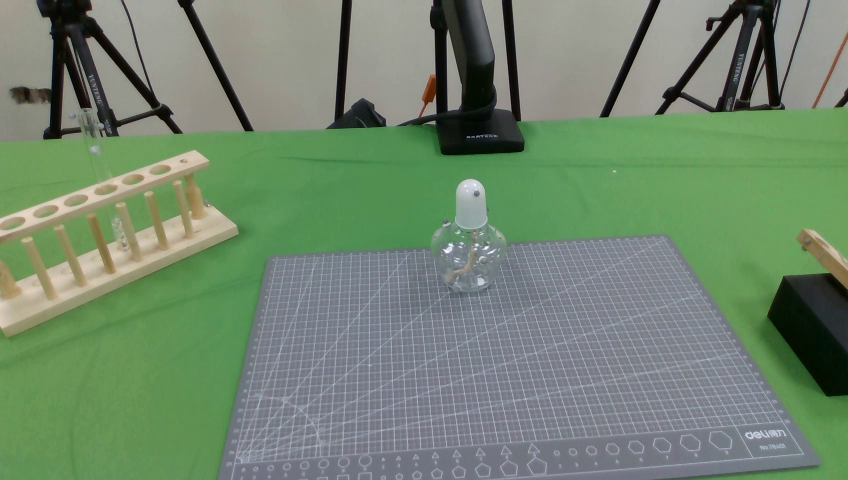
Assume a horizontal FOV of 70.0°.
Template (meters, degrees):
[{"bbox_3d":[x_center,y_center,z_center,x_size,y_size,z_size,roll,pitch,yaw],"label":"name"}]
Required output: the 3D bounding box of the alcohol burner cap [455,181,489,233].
[{"bbox_3d":[0.046,-0.034,0.577,0.034,0.048,0.033,-2,40,2],"label":"alcohol burner cap"}]

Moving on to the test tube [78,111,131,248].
[{"bbox_3d":[-0.324,-0.058,0.620,0.017,0.151,0.017,-1,30,1],"label":"test tube"}]

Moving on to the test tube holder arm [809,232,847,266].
[{"bbox_3d":[0.388,0.049,0.524,0.013,0.015,0.176,0,36,-12],"label":"test tube holder arm"}]

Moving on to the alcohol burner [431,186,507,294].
[{"bbox_3d":[0.045,-0.005,0.598,0.078,0.120,0.077,1,38,0],"label":"alcohol burner"}]

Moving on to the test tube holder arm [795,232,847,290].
[{"bbox_3d":[0.376,0.022,0.558,0.010,0.015,0.087,0,36,-11],"label":"test tube holder arm"}]

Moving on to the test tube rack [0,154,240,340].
[{"bbox_3d":[-0.324,-0.002,0.628,0.242,0.086,0.066,-29,45,-33],"label":"test tube rack"}]
